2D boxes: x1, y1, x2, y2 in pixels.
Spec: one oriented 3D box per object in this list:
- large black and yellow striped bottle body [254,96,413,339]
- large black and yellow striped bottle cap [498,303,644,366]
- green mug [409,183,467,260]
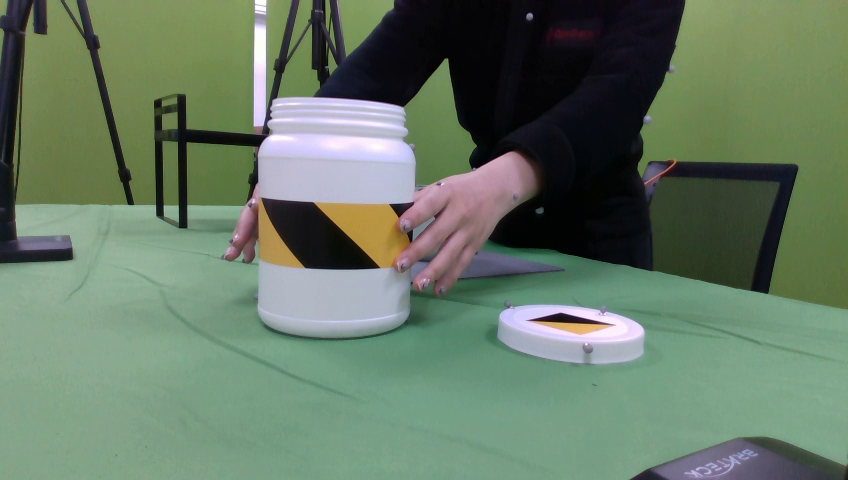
[{"bbox_3d":[-0.075,-0.022,0.507,0.131,0.184,0.130,2,8,0],"label":"large black and yellow striped bottle body"},{"bbox_3d":[0.117,0.073,0.486,0.115,0.019,0.115,1,9,0],"label":"large black and yellow striped bottle cap"},{"bbox_3d":[0.014,-0.026,0.858,0.093,0.105,0.124,-4,10,-42],"label":"green mug"}]
